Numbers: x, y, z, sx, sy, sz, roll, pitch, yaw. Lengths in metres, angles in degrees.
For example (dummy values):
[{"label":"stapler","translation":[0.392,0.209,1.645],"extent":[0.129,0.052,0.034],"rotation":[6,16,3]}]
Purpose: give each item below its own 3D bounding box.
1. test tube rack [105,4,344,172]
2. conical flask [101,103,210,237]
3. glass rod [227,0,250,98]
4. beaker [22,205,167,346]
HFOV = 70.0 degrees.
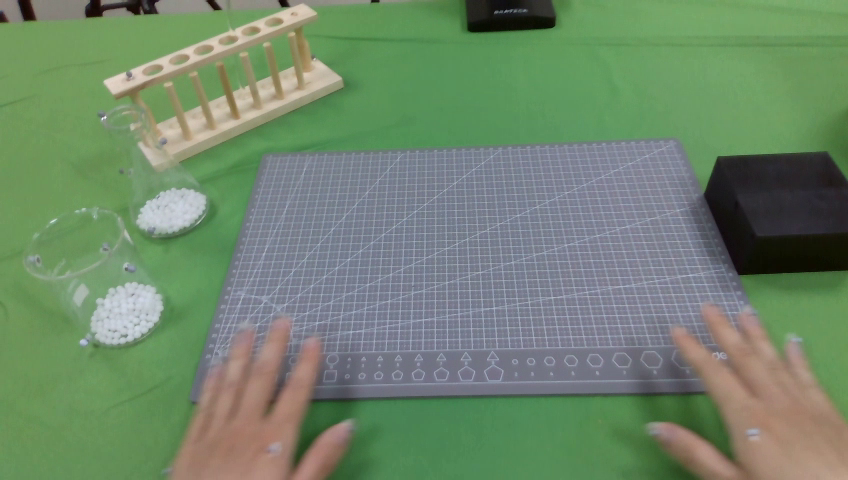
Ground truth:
[{"label":"test tube rack","translation":[-0.217,-0.178,0.691],"extent":[0.242,0.086,0.066],"rotation":[-32,53,-22]},{"label":"conical flask","translation":[-0.255,-0.067,0.568],"extent":[0.075,0.123,0.074],"rotation":[-2,47,2]},{"label":"glass rod","translation":[-0.209,-0.247,0.663],"extent":[0.008,0.201,0.008],"rotation":[1,40,-1]},{"label":"beaker","translation":[-0.260,0.032,0.494],"extent":[0.074,0.101,0.083],"rotation":[-4,47,0]}]
